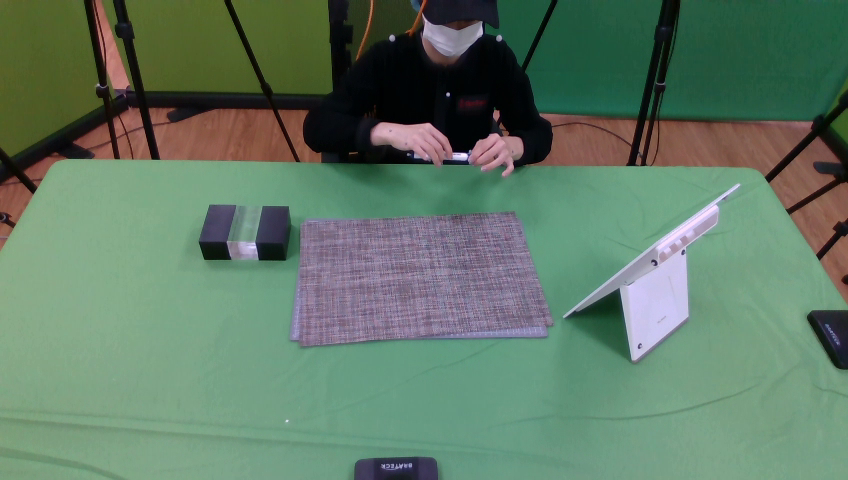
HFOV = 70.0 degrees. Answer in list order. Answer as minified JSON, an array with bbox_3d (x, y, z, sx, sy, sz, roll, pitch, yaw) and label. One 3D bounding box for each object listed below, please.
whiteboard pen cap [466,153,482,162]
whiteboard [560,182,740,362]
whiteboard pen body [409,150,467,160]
[{"bbox_3d":[0.099,-0.169,1.231,0.033,0.018,0.018,2,45,-16],"label":"whiteboard pen cap"},{"bbox_3d":[0.406,0.075,1.001,0.217,0.306,0.143,-28,73,-28],"label":"whiteboard"},{"bbox_3d":[0.040,-0.171,1.220,0.141,0.017,0.017,1,46,-12],"label":"whiteboard pen body"}]
